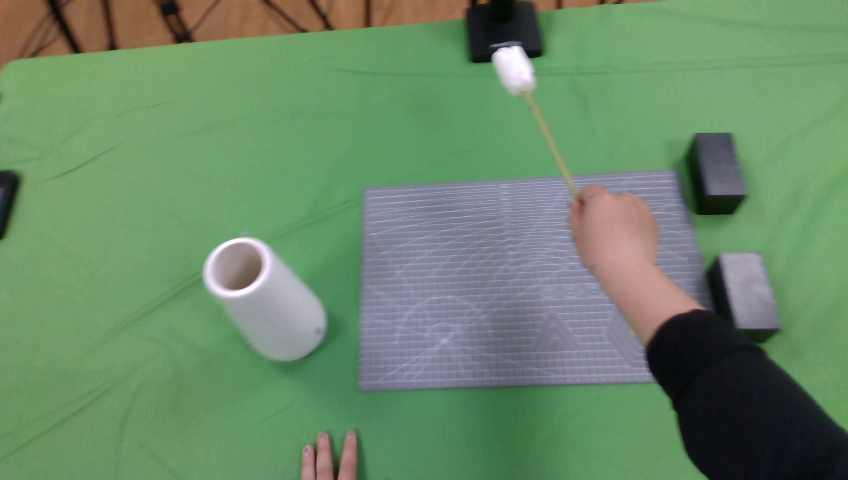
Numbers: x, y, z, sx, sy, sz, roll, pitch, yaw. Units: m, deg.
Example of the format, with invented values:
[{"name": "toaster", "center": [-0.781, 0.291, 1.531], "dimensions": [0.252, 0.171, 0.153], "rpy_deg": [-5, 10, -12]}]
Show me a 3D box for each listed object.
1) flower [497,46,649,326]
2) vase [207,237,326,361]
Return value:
[{"name": "flower", "center": [0.159, -0.071, 0.657], "dimensions": [0.038, 0.044, 0.358], "rpy_deg": [-39, 60, 36]}, {"name": "vase", "center": [-0.179, 0.072, 0.706], "dimensions": [0.098, 0.201, 0.097], "rpy_deg": [-1, 62, 3]}]
